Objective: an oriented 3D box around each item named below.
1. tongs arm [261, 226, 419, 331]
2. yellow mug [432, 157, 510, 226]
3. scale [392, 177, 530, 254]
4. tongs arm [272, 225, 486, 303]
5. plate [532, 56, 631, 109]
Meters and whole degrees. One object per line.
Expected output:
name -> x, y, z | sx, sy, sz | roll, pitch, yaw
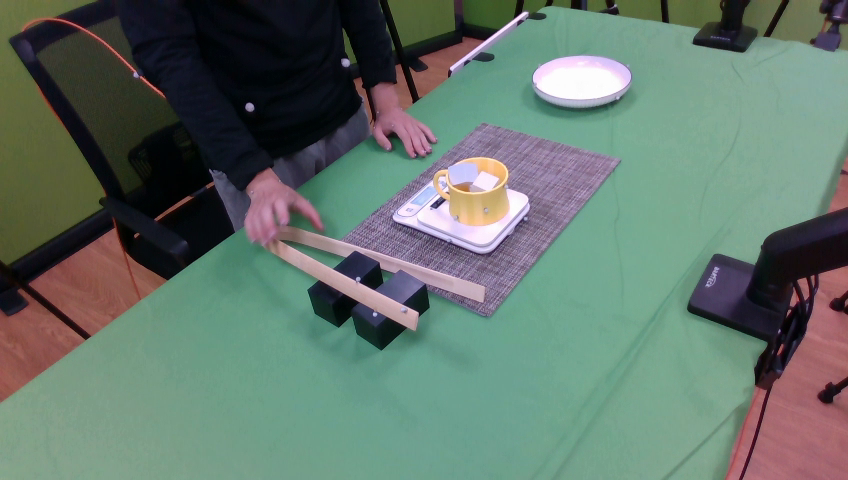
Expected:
tongs arm -> -0.132, 0.044, 0.867 | 0.381, 0.026, 0.051 | 21, 23, 39
yellow mug -> 0.072, -0.082, 0.968 | 0.130, 0.064, 0.100 | 13, 45, 24
scale -> 0.060, -0.050, 1.006 | 0.199, 0.032, 0.149 | 22, 48, 30
tongs arm -> -0.081, 0.032, 0.930 | 0.385, 0.028, 0.028 | 16, 24, 26
plate -> 0.336, -0.335, 1.301 | 0.207, 0.039, 0.206 | -4, 41, 4
